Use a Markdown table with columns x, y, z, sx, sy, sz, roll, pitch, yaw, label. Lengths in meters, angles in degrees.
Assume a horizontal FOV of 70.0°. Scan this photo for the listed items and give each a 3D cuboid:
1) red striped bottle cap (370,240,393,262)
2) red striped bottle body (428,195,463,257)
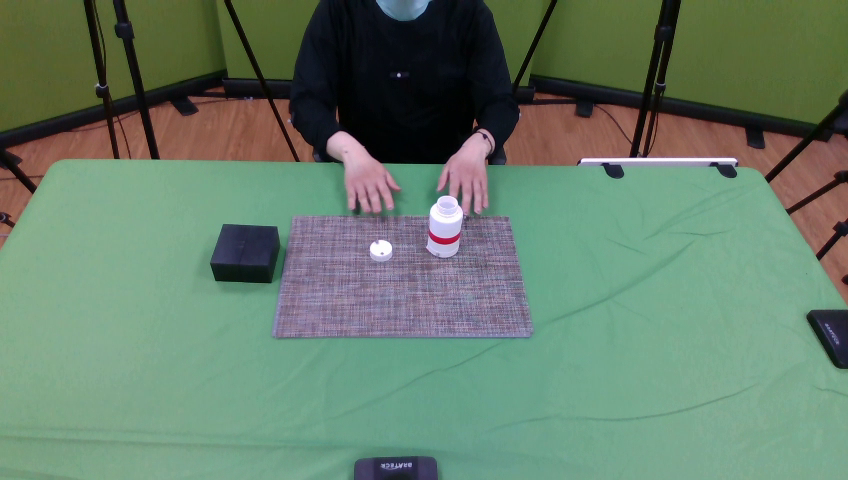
| x | y | z | sx | sy | sz | roll | pitch | yaw | label |
| --- | --- | --- | --- | --- | --- | --- | --- | --- | --- |
| -0.082 | 0.020 | 1.168 | 0.044 | 0.018 | 0.044 | -2 | 47 | 3 | red striped bottle cap |
| 0.041 | -0.028 | 1.152 | 0.063 | 0.120 | 0.062 | 2 | 46 | -2 | red striped bottle body |
